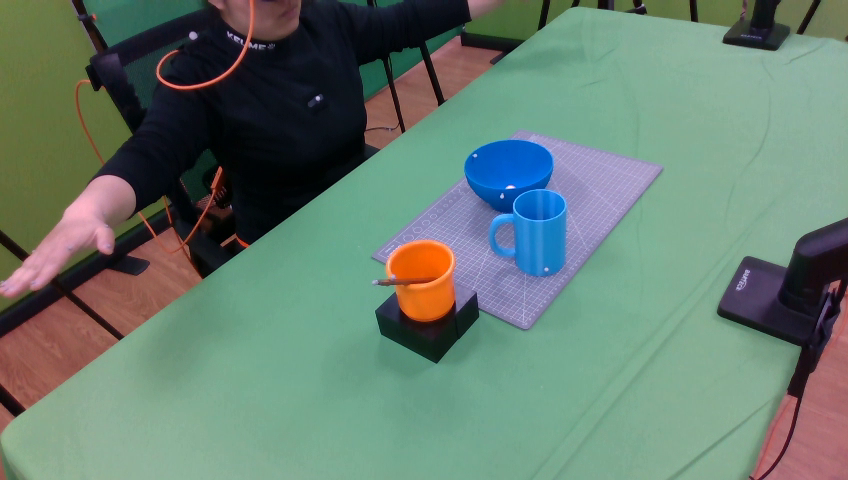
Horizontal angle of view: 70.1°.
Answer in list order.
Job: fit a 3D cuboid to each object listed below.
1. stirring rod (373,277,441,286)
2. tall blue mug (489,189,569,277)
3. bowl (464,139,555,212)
[{"bbox_3d":[-0.017,0.051,0.757,0.014,0.006,0.177,9,2,24],"label":"stirring rod"},{"bbox_3d":[0.158,-0.005,0.886,0.107,0.108,0.077,-23,43,-16],"label":"tall blue mug"},{"bbox_3d":[0.145,-0.100,1.025,0.151,0.077,0.150,-5,40,5],"label":"bowl"}]
